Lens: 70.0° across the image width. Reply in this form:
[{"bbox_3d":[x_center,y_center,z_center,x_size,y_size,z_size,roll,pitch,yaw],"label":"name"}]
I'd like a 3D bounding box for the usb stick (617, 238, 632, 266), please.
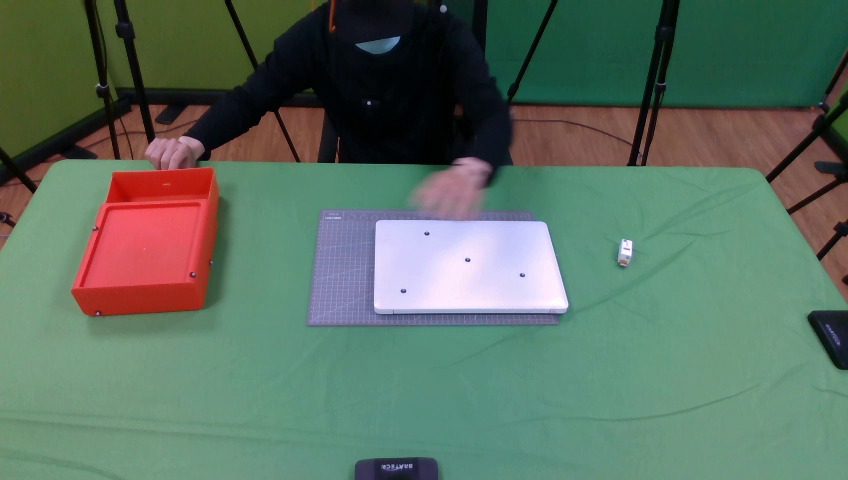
[{"bbox_3d":[0.397,0.025,1.200,0.021,0.027,0.059,16,50,8],"label":"usb stick"}]

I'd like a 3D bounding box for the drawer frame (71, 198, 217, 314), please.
[{"bbox_3d":[-0.493,0.023,1.096,0.202,0.083,0.212,-3,47,-8],"label":"drawer frame"}]

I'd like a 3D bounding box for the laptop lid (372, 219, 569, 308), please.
[{"bbox_3d":[0.081,0.039,1.152,0.357,0.013,0.240,1,44,-3],"label":"laptop lid"}]

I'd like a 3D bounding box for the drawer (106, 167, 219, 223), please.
[{"bbox_3d":[-0.507,-0.045,1.163,0.195,0.073,0.210,-3,47,-9],"label":"drawer"}]

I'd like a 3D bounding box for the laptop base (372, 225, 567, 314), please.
[{"bbox_3d":[0.080,0.049,1.159,0.355,0.023,0.234,0,43,-4],"label":"laptop base"}]
